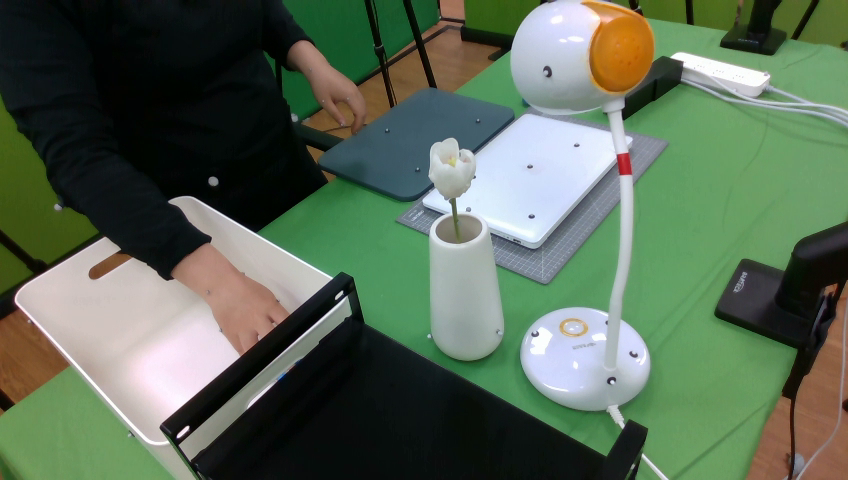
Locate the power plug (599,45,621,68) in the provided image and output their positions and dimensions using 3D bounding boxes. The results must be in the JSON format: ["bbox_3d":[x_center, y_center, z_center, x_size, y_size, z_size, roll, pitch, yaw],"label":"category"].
[{"bbox_3d":[0.436,-0.422,1.412,0.053,0.035,0.072,-17,75,-48],"label":"power plug"}]

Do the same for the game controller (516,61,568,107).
[{"bbox_3d":[0.259,-0.352,1.336,0.097,0.052,0.154,-3,41,2],"label":"game controller"}]

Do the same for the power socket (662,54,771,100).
[{"bbox_3d":[0.615,-0.348,1.284,0.072,0.033,0.225,-36,48,-29],"label":"power socket"}]

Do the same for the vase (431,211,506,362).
[{"bbox_3d":[0.054,0.062,0.757,0.098,0.201,0.097,-3,40,3],"label":"vase"}]

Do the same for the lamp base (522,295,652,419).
[{"bbox_3d":[0.201,0.095,0.710,0.161,0.181,0.177,-16,43,-10],"label":"lamp base"}]

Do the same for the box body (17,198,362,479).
[{"bbox_3d":[-0.285,0.123,0.766,0.361,0.161,0.255,25,49,33],"label":"box body"}]

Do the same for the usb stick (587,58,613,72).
[{"bbox_3d":[0.401,-0.399,1.380,0.059,0.027,0.021,0,48,21],"label":"usb stick"}]

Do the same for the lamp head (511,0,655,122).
[{"bbox_3d":[0.155,-0.168,0.564,0.113,0.113,0.122,-18,23,-12],"label":"lamp head"}]

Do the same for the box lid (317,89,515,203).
[{"bbox_3d":[-0.009,-0.207,1.236,0.261,0.015,0.372,23,49,32],"label":"box lid"}]

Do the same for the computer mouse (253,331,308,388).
[{"bbox_3d":[-0.169,0.162,0.791,0.116,0.041,0.063,28,49,29],"label":"computer mouse"}]

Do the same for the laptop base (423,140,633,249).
[{"bbox_3d":[0.194,-0.117,1.087,0.233,0.023,0.355,20,47,34],"label":"laptop base"}]

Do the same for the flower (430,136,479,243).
[{"bbox_3d":[0.041,0.011,0.691,0.044,0.363,0.038,16,62,14],"label":"flower"}]

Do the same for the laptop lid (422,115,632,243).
[{"bbox_3d":[0.190,-0.126,1.081,0.239,0.013,0.358,23,48,34],"label":"laptop lid"}]
